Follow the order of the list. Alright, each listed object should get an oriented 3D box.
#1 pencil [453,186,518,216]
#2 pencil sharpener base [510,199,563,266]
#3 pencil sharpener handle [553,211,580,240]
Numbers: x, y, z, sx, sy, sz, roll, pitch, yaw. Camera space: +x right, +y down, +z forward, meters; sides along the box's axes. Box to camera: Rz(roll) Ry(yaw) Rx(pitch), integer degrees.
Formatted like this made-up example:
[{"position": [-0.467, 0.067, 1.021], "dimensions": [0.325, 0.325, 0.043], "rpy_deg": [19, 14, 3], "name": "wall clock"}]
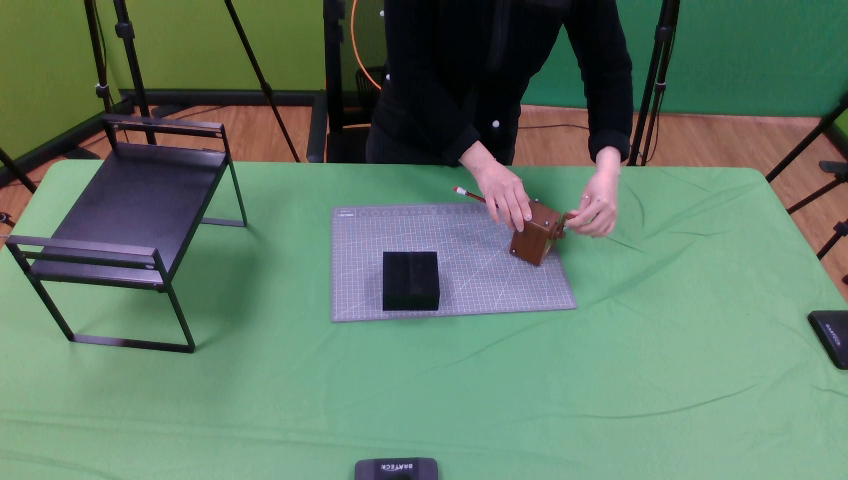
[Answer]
[{"position": [0.140, -0.067, 1.177], "dimensions": [0.193, 0.012, 0.012], "rpy_deg": [26, 50, 23], "name": "pencil"}, {"position": [0.216, -0.012, 1.160], "dimensions": [0.076, 0.107, 0.061], "rpy_deg": [27, 50, 21], "name": "pencil sharpener base"}, {"position": [0.262, -0.022, 1.112], "dimensions": [0.030, 0.068, 0.036], "rpy_deg": [27, 43, 21], "name": "pencil sharpener handle"}]
